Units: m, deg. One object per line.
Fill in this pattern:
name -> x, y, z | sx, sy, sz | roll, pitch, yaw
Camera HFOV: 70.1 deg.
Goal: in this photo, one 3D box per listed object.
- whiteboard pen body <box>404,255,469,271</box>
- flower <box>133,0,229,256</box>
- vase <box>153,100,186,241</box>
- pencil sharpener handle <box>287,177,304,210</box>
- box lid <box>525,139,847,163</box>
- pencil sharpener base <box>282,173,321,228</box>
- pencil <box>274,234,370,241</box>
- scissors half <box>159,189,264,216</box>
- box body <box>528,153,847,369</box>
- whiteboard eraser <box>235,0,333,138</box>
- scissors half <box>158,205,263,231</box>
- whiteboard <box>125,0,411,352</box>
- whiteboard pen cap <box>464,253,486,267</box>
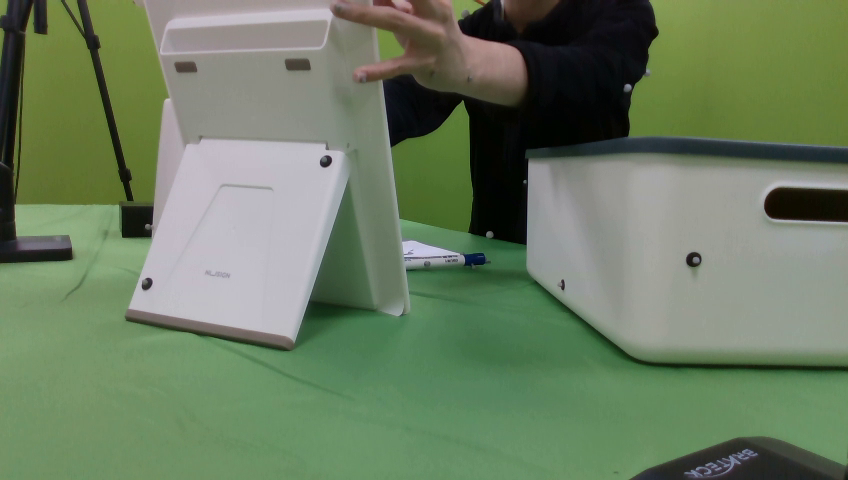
whiteboard pen body -> 0.013, 0.030, 0.792 | 0.141, 0.017, 0.017 | -3, 9, -23
flower -> -0.282, -0.146, 0.712 | 0.038, 0.362, 0.044 | -23, 23, -31
vase -> -0.278, -0.066, 0.736 | 0.098, 0.200, 0.098 | 2, 8, 0
pencil sharpener handle -> -0.269, -0.096, 1.257 | 0.036, 0.067, 0.030 | -8, 8, -27
box lid -> 0.261, -0.078, 0.580 | 0.264, 0.015, 0.371 | 2, 7, -4
pencil sharpener base -> -0.247, -0.080, 1.212 | 0.061, 0.107, 0.076 | -2, 5, -28
pencil -> -0.169, -0.005, 1.036 | 0.195, 0.012, 0.012 | -1, 8, -45
scissors half -> -0.370, -0.062, 1.059 | 0.176, 0.040, 0.013 | -11, 9, -26
box body -> 0.257, -0.005, 0.591 | 0.254, 0.160, 0.363 | 2, 7, -4
whiteboard eraser -> -0.123, -0.145, 0.516 | 0.055, 0.112, 0.042 | 35, 35, 3
scissors half -> -0.371, -0.042, 1.062 | 0.176, 0.040, 0.012 | 8, 5, -28
whiteboard -> -0.151, -0.049, 0.472 | 0.216, 0.305, 0.144 | 6, 27, 24
whiteboard pen cap -> 0.066, 0.027, 0.818 | 0.033, 0.018, 0.018 | -6, 11, -25
